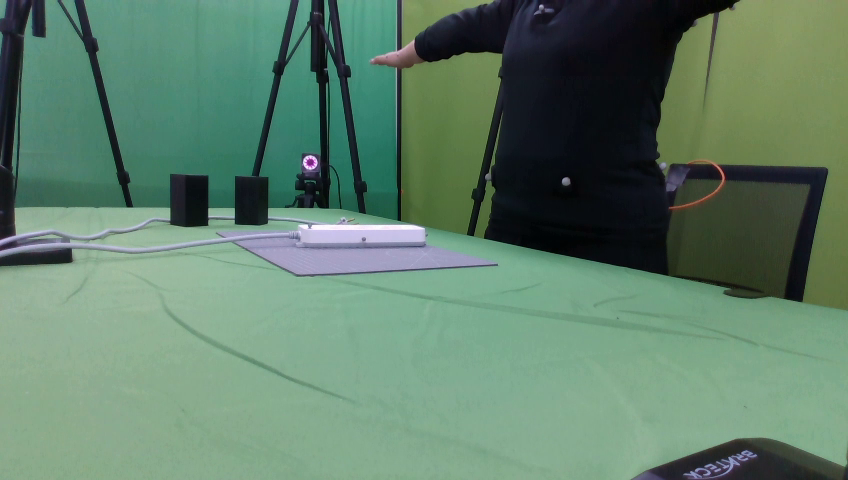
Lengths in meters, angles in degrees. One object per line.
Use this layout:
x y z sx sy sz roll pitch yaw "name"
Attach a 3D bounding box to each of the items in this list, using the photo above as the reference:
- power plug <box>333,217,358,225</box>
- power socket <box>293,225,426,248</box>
-0.153 -0.030 1.125 0.053 0.035 0.072 -18 24 -13 "power plug"
-0.104 -0.008 1.003 0.228 0.032 0.072 -1 7 -23 "power socket"
